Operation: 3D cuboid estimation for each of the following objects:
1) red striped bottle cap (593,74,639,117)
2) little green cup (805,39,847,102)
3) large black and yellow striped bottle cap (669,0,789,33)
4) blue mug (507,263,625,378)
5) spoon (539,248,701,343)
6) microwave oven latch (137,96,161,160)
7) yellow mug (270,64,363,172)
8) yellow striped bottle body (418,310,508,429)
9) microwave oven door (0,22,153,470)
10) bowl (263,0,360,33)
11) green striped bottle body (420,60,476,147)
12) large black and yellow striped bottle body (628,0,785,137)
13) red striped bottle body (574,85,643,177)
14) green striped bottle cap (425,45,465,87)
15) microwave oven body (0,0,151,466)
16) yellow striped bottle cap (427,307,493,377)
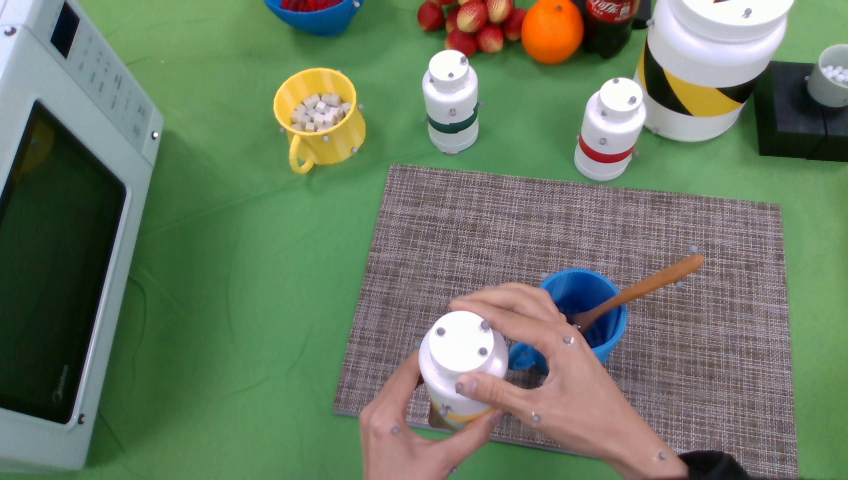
[{"bbox_3d":[0.198,-0.150,0.624,0.044,0.018,0.044,0,64,1],"label":"red striped bottle cap"},{"bbox_3d":[0.454,-0.184,0.664,0.061,0.039,0.061,-1,63,2],"label":"little green cup"},{"bbox_3d":[0.298,-0.251,0.592,0.115,0.019,0.114,-2,64,5],"label":"large black and yellow striped bottle cap"},{"bbox_3d":[0.126,0.088,0.583,0.116,0.107,0.081,-27,65,-7],"label":"blue mug"},{"bbox_3d":[0.165,0.056,0.546,0.022,0.194,0.041,8,58,-31],"label":"spoon"},{"bbox_3d":[-0.349,-0.138,0.750,0.030,0.030,0.078,0,66,5],"label":"microwave oven latch"},{"bbox_3d":[-0.136,-0.142,0.739,0.099,0.064,0.130,16,68,12],"label":"yellow mug"},{"bbox_3d":[0.030,0.093,0.448,0.063,0.121,0.062,-3,57,6],"label":"yellow striped bottle body"},{"bbox_3d":[-0.362,0.017,0.568,0.039,0.246,0.353,-2,65,5],"label":"microwave oven door"},{"bbox_3d":[-0.145,-0.338,0.824,0.151,0.077,0.150,-2,65,4],"label":"bowl"},{"bbox_3d":[0.029,-0.167,0.705,0.063,0.120,0.062,-2,65,4],"label":"green striped bottle body"},{"bbox_3d":[0.307,-0.216,0.668,0.131,0.185,0.129,-2,65,5],"label":"large black and yellow striped bottle body"},{"bbox_3d":[0.203,-0.126,0.671,0.063,0.121,0.062,-3,63,6],"label":"red striped bottle body"},{"bbox_3d":[0.023,-0.189,0.658,0.044,0.020,0.044,-1,65,3],"label":"green striped bottle cap"},{"bbox_3d":[-0.506,-0.015,0.601,0.326,0.262,0.438,-2,66,4],"label":"microwave oven body"},{"bbox_3d":[0.024,0.067,0.403,0.044,0.019,0.044,-2,58,4],"label":"yellow striped bottle cap"}]
